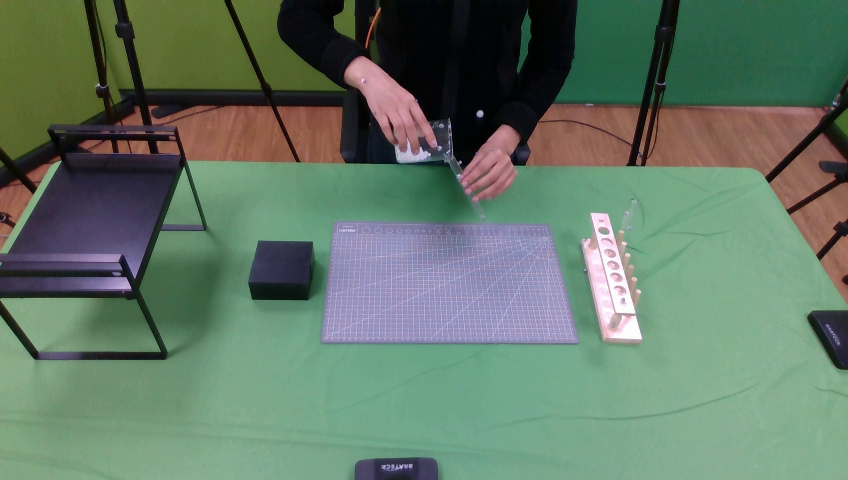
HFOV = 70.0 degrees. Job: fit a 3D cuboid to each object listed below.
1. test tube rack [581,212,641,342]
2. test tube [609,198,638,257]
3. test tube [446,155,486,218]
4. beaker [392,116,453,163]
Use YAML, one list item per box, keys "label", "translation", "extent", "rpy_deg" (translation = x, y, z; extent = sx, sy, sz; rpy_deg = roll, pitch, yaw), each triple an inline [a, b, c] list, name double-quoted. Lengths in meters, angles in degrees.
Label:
- label: "test tube rack"
  translation: [0.351, 0.063, 1.121]
  extent: [0.067, 0.085, 0.241]
  rpy_deg: [3, 46, -1]
- label: "test tube"
  translation: [0.375, -0.021, 1.141]
  extent: [0.017, 0.151, 0.017]
  rpy_deg: [2, 45, -2]
- label: "test tube"
  translation: [0.080, -0.097, 1.130]
  extent: [0.017, 0.151, 0.017]
  rpy_deg: [-22, 34, 16]
- label: "beaker"
  translation: [-0.002, -0.172, 1.061]
  extent: [0.100, 0.084, 0.073]
  rpy_deg: [-5, 49, 1]
